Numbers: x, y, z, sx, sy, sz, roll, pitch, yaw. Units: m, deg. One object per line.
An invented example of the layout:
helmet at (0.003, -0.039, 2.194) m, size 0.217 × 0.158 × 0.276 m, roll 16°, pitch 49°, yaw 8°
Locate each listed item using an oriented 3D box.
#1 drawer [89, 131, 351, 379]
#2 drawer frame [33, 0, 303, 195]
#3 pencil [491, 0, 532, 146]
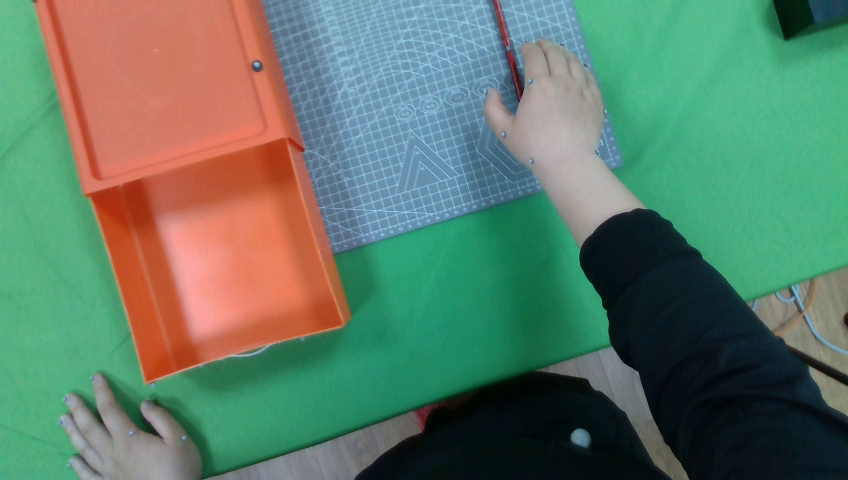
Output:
drawer at (-0.196, 0.006, 0.594) m, size 0.194 × 0.073 × 0.211 m, roll -16°, pitch 91°, yaw 1°
drawer frame at (-0.247, -0.167, 0.593) m, size 0.202 × 0.083 × 0.213 m, roll -17°, pitch 88°, yaw 1°
pencil at (0.087, -0.192, 0.626) m, size 0.012 × 0.012 × 0.194 m, roll -14°, pitch 91°, yaw 1°
